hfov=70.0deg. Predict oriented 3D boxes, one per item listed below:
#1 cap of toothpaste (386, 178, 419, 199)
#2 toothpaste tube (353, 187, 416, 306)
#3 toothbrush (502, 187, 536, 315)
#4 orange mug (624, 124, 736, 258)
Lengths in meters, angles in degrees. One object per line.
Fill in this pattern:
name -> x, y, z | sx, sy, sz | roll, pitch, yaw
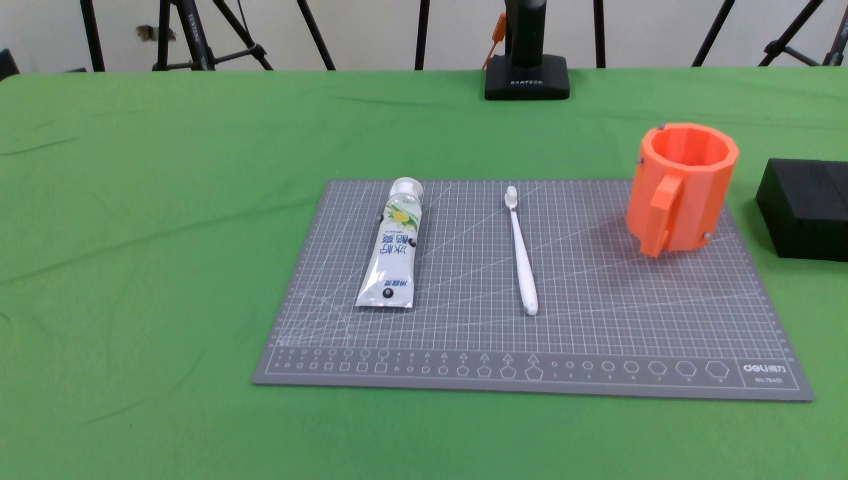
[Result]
cap of toothpaste -> -0.024, -0.053, 0.668 | 0.037, 0.038, 0.011 | 3, 48, 8
toothpaste tube -> -0.033, 0.002, 0.616 | 0.055, 0.035, 0.163 | -3, 45, 9
toothbrush -> 0.095, 0.005, 0.609 | 0.014, 0.017, 0.180 | 6, 41, -7
orange mug -> 0.240, -0.043, 0.589 | 0.083, 0.102, 0.126 | 21, 42, 27
